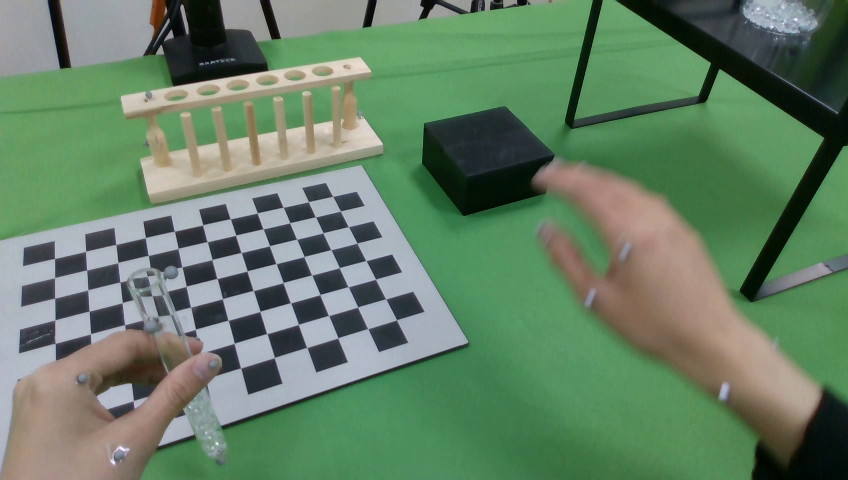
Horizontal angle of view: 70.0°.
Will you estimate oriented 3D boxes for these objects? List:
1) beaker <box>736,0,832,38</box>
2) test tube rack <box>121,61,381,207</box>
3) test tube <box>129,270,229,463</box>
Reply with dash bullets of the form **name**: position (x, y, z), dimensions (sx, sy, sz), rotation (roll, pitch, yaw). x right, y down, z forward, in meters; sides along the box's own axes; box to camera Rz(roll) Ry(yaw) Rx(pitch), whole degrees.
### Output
- **beaker**: position (0.316, -0.233, 0.515), dimensions (0.074, 0.101, 0.083), rotation (-30, 52, -32)
- **test tube rack**: position (-0.169, -0.114, 0.627), dimensions (0.243, 0.086, 0.066), rotation (-16, 46, -20)
- **test tube**: position (-0.129, 0.076, 0.329), dimensions (0.017, 0.151, 0.017), rotation (0, 40, 1)
